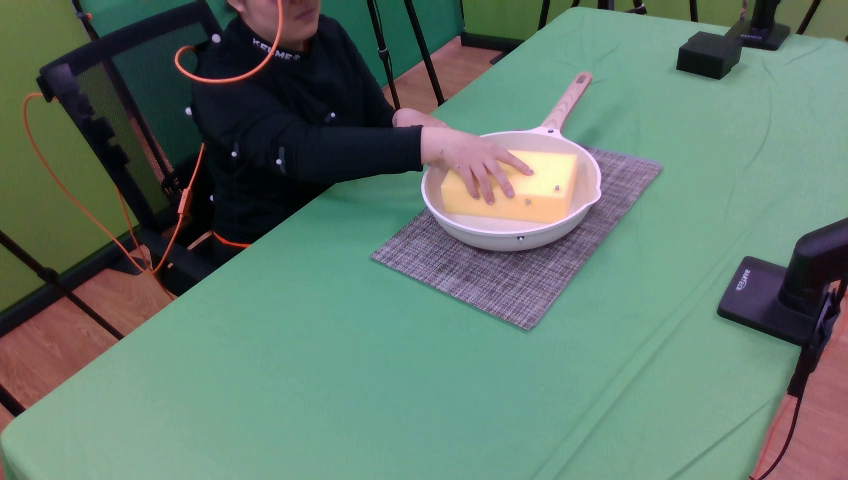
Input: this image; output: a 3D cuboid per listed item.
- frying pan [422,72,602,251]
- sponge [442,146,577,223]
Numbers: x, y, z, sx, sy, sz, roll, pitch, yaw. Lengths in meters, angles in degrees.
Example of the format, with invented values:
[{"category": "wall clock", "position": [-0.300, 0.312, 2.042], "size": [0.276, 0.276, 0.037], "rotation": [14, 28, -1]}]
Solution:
[{"category": "frying pan", "position": [0.199, -0.155, 1.062], "size": [0.304, 0.103, 0.488], "rotation": [19, 56, 28]}, {"category": "sponge", "position": [0.147, -0.095, 1.025], "size": [0.206, 0.061, 0.118], "rotation": [6, 46, 18]}]
